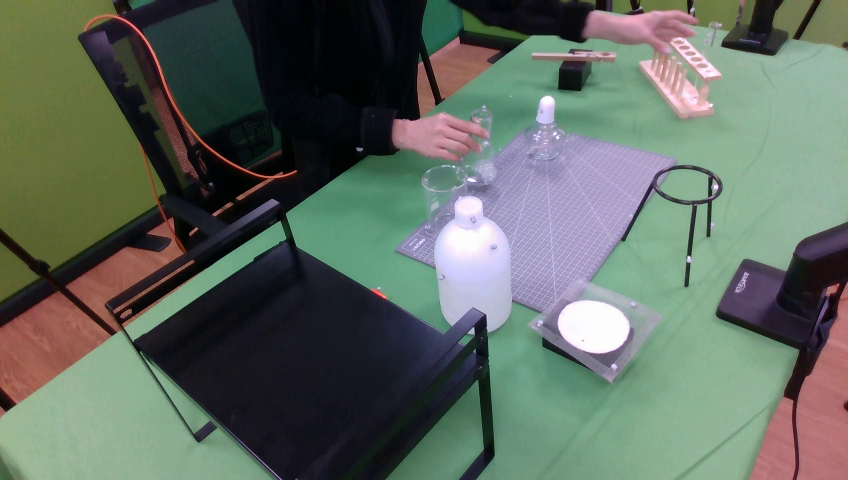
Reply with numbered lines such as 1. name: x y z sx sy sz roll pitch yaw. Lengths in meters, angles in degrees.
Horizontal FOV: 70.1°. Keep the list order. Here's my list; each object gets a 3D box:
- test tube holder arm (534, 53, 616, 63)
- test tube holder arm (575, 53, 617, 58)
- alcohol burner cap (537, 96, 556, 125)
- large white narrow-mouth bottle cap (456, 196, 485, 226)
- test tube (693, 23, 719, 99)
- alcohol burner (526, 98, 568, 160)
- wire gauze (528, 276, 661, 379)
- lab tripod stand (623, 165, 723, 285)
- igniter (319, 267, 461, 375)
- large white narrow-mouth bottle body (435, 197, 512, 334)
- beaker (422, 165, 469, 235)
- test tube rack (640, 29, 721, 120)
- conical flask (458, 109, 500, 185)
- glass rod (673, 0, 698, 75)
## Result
1. test tube holder arm: 0.330 -0.400 1.328 0.177 0.015 0.013 7 58 17
2. test tube holder arm: 0.374 -0.400 1.317 0.087 0.015 0.010 6 58 16
3. alcohol burner cap: 0.223 -0.237 1.095 0.034 0.048 0.033 0 43 1
4. large white narrow-mouth bottle cap: 0.058 -0.036 0.749 0.038 0.024 0.037 -4 40 4
5. test tube: 0.546 -0.345 1.175 0.017 0.151 0.017 -2 39 2
6. alcohol burner: 0.228 -0.210 1.118 0.078 0.119 0.077 -5 43 5
7. wire gauze: 0.214 0.103 0.763 0.124 0.011 0.122 30 52 35
8. lab tripod stand: 0.366 -0.030 0.874 0.148 0.132 0.147 -6 41 6
9. igniter: -0.060 0.108 0.862 0.274 0.025 0.057 29 62 35
10. large white narrow-mouth bottle body: 0.066 0.028 0.805 0.102 0.195 0.101 -4 40 4
11. beaker: 0.041 -0.063 0.986 0.073 0.101 0.084 20 47 29
12. test tube rack: 0.527 -0.351 1.262 0.067 0.085 0.241 -8 40 1
13. conical flask: 0.098 -0.162 1.038 0.075 0.122 0.075 1 40 0
14. glass rod: 0.537 -0.424 1.244 0.008 0.200 0.008 0 47 1
